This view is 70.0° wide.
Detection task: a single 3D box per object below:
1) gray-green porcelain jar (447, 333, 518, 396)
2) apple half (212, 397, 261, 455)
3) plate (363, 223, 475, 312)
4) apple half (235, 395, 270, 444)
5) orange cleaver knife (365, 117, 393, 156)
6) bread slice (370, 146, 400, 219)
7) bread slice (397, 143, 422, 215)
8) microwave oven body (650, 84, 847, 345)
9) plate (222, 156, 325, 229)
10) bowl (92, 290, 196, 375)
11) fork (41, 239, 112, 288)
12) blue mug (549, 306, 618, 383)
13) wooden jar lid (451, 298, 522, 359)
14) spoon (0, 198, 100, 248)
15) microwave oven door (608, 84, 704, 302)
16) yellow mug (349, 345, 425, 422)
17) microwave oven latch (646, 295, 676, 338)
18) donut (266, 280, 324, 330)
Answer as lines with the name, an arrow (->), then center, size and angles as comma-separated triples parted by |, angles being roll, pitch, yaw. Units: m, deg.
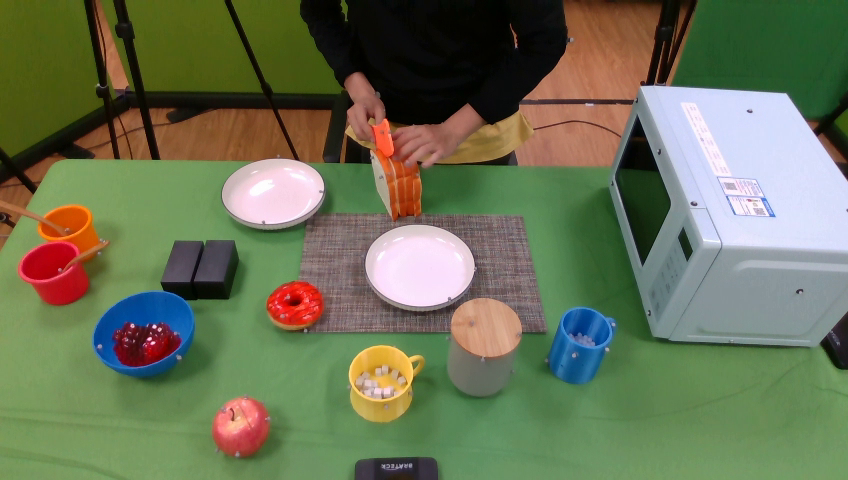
gray-green porcelain jar -> 0.091, 0.178, 0.960 | 0.106, 0.127, 0.105 | 2, 46, -2
apple half -> -0.276, 0.276, 0.877 | 0.053, 0.075, 0.080 | -29, 58, -21
plate -> -0.009, 0.054, 1.126 | 0.208, 0.039, 0.206 | 2, 46, -2
apple half -> -0.245, 0.260, 0.893 | 0.033, 0.082, 0.081 | -29, 55, -22
orange cleaver knife -> -0.092, -0.208, 1.216 | 0.012, 0.077, 0.210 | -7, 13, -15
bread slice -> -0.081, -0.124, 1.230 | 0.018, 0.135, 0.106 | -22, 46, -13
bread slice -> -0.029, -0.131, 1.240 | 0.019, 0.132, 0.104 | -16, 48, -15
microwave oven body -> 0.569, -0.054, 1.116 | 0.326, 0.261, 0.439 | 2, 46, -1
plate -> -0.308, -0.095, 1.251 | 0.209, 0.038, 0.208 | 2, 46, -2
bowl -> -0.436, 0.161, 0.971 | 0.151, 0.077, 0.150 | 2, 46, -2
fork -> -0.591, 0.040, 1.028 | 0.207, 0.019, 0.028 | -27, 37, 29
blue mug -> 0.269, 0.167, 0.997 | 0.116, 0.106, 0.082 | -19, 50, -21
wooden jar lid -> 0.093, 0.135, 0.914 | 0.108, 0.021, 0.107 | 2, 48, -3
spoon -> -0.684, -0.035, 1.092 | 0.021, 0.195, 0.041 | -34, 41, 26
microwave oven door -> 0.424, -0.096, 1.138 | 0.039, 0.245, 0.353 | 3, 46, -1
yellow mug -> -0.054, 0.217, 0.954 | 0.131, 0.064, 0.099 | -23, 52, -25
microwave oven latch -> 0.413, 0.133, 1.060 | 0.030, 0.029, 0.078 | 4, 46, 1
donut -> -0.223, 0.112, 1.051 | 0.099, 0.048, 0.098 | 2, 46, -2
